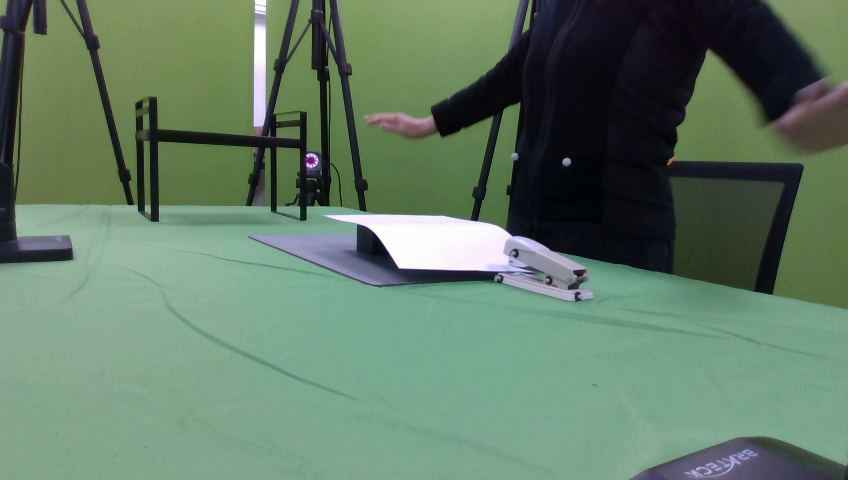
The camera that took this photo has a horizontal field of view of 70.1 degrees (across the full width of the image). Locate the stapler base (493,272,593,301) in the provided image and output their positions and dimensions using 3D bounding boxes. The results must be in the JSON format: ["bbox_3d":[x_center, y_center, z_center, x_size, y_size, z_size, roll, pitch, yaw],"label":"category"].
[{"bbox_3d":[0.133,0.046,0.696,0.041,0.024,0.130,-2,9,-35],"label":"stapler base"}]

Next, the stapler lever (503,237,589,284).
[{"bbox_3d":[0.137,0.022,0.693,0.027,0.040,0.117,-2,9,-35],"label":"stapler lever"}]
